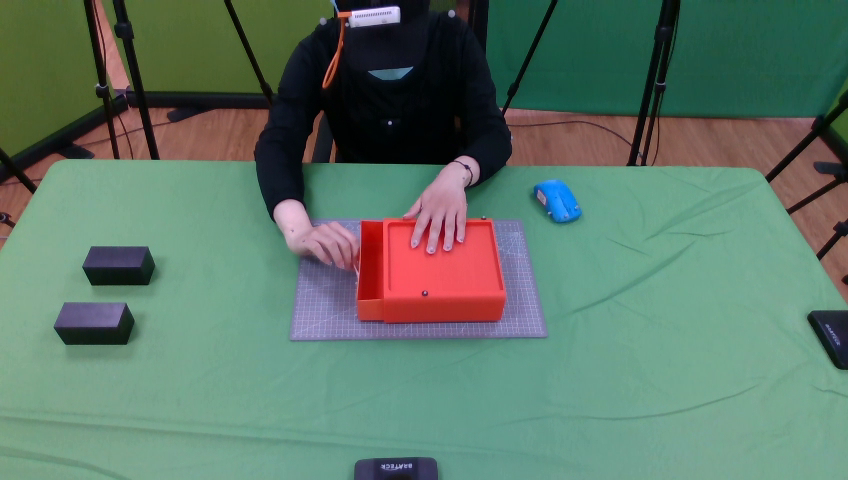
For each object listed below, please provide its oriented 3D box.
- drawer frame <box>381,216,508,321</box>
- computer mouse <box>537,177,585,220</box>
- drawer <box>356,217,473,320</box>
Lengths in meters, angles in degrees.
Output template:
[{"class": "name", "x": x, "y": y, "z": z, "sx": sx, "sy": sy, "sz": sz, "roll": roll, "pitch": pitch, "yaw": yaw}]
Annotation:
[{"class": "drawer frame", "x": 0.029, "y": 0.049, "z": 1.102, "sx": 0.214, "sy": 0.083, "sz": 0.200, "roll": 0, "pitch": 46, "yaw": -5}, {"class": "computer mouse", "x": 0.291, "y": -0.092, "z": 1.288, "sx": 0.063, "sy": 0.041, "sz": 0.116, "roll": -13, "pitch": 52, "yaw": -18}, {"class": "drawer", "x": -0.016, "y": 0.049, "z": 1.100, "sx": 0.212, "sy": 0.073, "sz": 0.193, "roll": 1, "pitch": 46, "yaw": -4}]
